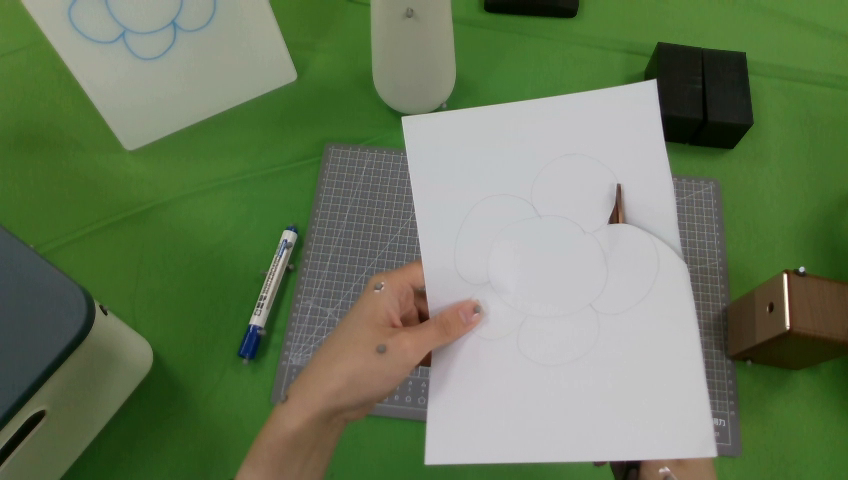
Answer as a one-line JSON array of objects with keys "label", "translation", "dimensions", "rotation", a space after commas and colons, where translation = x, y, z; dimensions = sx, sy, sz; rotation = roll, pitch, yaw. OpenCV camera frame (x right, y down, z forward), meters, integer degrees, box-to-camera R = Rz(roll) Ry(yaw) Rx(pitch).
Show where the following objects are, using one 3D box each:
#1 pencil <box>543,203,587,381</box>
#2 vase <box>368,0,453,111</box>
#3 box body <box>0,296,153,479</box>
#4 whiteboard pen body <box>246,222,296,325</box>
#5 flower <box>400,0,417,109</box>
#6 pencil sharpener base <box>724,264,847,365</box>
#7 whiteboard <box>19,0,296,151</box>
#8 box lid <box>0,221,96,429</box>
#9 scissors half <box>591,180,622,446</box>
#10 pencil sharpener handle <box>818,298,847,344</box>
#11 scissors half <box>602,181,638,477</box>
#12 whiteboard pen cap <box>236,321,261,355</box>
[{"label": "pencil", "translation": [0.147, 0.050, 0.628], "dimensions": [0.012, 0.012, 0.192], "rotation": [-7, 69, -3]}, {"label": "vase", "translation": [-0.016, -0.229, 0.645], "dimensions": [0.098, 0.201, 0.097], "rotation": [0, 65, 1]}, {"label": "box body", "translation": [-0.466, 0.084, 0.532], "dimensions": [0.362, 0.161, 0.253], "rotation": [31, 71, 12]}, {"label": "whiteboard pen body", "translation": [-0.161, 0.044, 0.627], "dimensions": [0.017, 0.017, 0.140], "rotation": [12, 66, 6]}, {"label": "flower", "translation": [-0.022, -0.275, 0.574], "dimensions": [0.044, 0.365, 0.038], "rotation": [-1, 49, 3]}, {"label": "pencil sharpener base", "translation": [0.343, 0.073, 0.566], "dimensions": [0.077, 0.107, 0.061], "rotation": [10, 67, 1]}, {"label": "whiteboard", "translation": [-0.305, -0.292, 0.647], "dimensions": [0.217, 0.308, 0.142], "rotation": [-27, 50, -10]}, {"label": "box lid", "translation": [-0.468, 0.054, 0.464], "dimensions": [0.370, 0.015, 0.262], "rotation": [31, 70, 12]}, {"label": "scissors half", "translation": [0.115, 0.049, 0.377], "dimensions": [0.013, 0.040, 0.176], "rotation": [0, 110, 4]}, {"label": "pencil sharpener handle", "translation": [0.393, 0.078, 0.554], "dimensions": [0.030, 0.068, 0.035], "rotation": [10, 61, 1]}, {"label": "scissors half", "translation": [0.114, 0.052, 0.356], "dimensions": [0.013, 0.040, 0.175], "rotation": [-1, 88, -1]}, {"label": "whiteboard pen cap", "translation": [-0.173, 0.097, 0.603], "dimensions": [0.018, 0.018, 0.033], "rotation": [12, 63, 5]}]
